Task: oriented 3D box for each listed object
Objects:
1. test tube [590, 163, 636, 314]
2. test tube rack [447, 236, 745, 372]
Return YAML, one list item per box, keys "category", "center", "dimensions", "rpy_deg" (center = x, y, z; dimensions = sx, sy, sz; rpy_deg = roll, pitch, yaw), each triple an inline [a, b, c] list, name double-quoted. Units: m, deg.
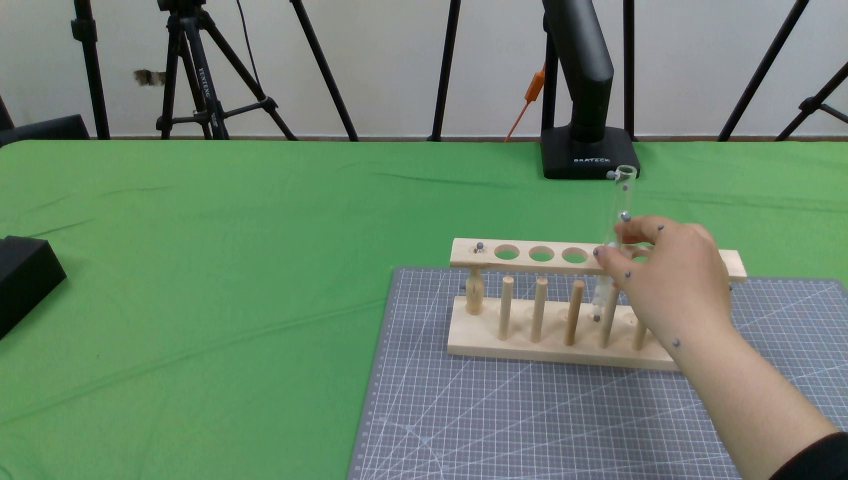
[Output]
- category: "test tube"
  center: [0.159, 0.004, 0.515]
  dimensions: [0.017, 0.151, 0.017]
  rpy_deg: [0, 34, 1]
- category: "test tube rack"
  center: [0.143, 0.054, 0.533]
  dimensions: [0.242, 0.086, 0.066]
  rpy_deg: [3, 38, 8]
